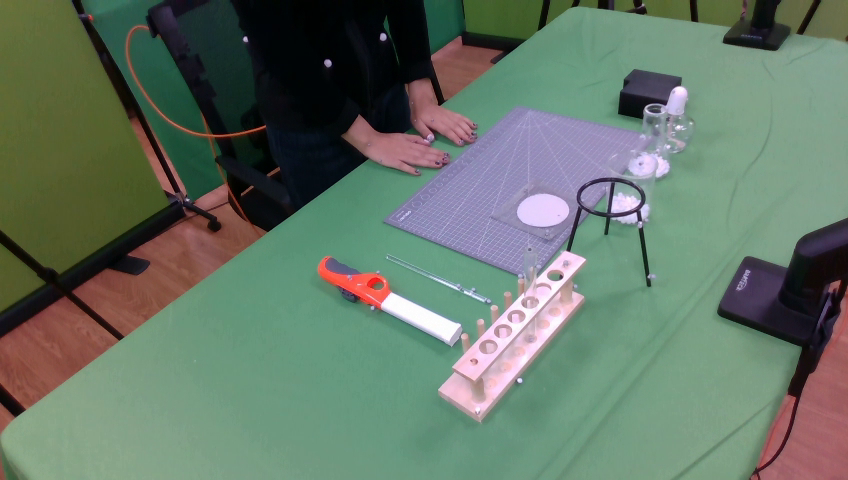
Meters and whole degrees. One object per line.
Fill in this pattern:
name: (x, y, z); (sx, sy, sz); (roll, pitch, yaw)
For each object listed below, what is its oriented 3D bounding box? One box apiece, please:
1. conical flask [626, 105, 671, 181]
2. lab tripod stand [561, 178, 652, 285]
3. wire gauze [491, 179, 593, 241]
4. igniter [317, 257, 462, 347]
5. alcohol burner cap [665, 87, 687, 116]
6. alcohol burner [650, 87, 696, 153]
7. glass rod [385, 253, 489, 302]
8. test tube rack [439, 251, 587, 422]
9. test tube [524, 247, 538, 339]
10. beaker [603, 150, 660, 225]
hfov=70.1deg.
conical flask: (0.388, -0.168, 1.031); (0.075, 0.122, 0.075); (-6, 40, 5)
lab tripod stand: (0.263, -0.014, 0.864); (0.148, 0.132, 0.147); (-7, 38, 6)
wire gauze: (0.198, -0.051, 1.014); (0.125, 0.011, 0.120); (-38, 48, -27)
igniter: (-0.061, 0.086, 0.891); (0.274, 0.025, 0.057); (23, 59, 33)
alcohol burner cap: (0.445, -0.244, 1.060); (0.034, 0.048, 0.033); (-2, 45, 3)
alcohol burner: (0.448, -0.217, 1.084); (0.078, 0.119, 0.077); (-6, 38, 5)
glass rod: (0.016, 0.055, 0.927); (0.198, 0.008, 0.008); (23, 50, 32)
test tube rack: (0.118, 0.111, 0.780); (0.066, 0.085, 0.243); (26, 51, 34)
test tube: (0.133, 0.070, 0.749); (0.017, 0.151, 0.017); (-5, 38, 4)
beaker: (0.324, -0.080, 0.957); (0.083, 0.101, 0.074); (7, 42, 20)
